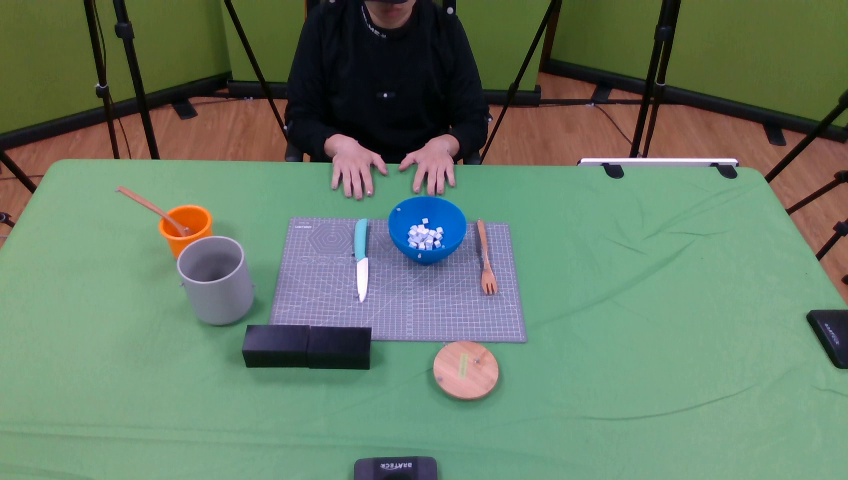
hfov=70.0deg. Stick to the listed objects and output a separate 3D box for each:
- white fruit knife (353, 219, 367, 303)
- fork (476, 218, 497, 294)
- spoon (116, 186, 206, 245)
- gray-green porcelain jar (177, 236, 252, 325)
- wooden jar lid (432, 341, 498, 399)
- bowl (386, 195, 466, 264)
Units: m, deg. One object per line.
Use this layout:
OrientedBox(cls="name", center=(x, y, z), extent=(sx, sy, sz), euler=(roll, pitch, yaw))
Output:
OrientedBox(cls="white fruit knife", center=(-0.122, 0.036, 1.153), extent=(0.027, 0.016, 0.206), euler=(-10, 47, 5))
OrientedBox(cls="fork", center=(0.118, 0.027, 1.178), extent=(0.028, 0.019, 0.206), euler=(-4, 48, 1))
OrientedBox(cls="spoon", center=(-0.474, -0.041, 1.112), extent=(0.021, 0.195, 0.041), euler=(-30, 32, 30))
OrientedBox(cls="gray-green porcelain jar", center=(-0.350, 0.073, 1.027), extent=(0.106, 0.127, 0.105), euler=(3, 46, -3))
OrientedBox(cls="wooden jar lid", center=(0.067, 0.216, 0.997), extent=(0.108, 0.021, 0.107), euler=(1, 46, -1))
OrientedBox(cls="bowl", center=(0.002, -0.007, 1.162), extent=(0.151, 0.077, 0.150), euler=(2, 46, -2))
